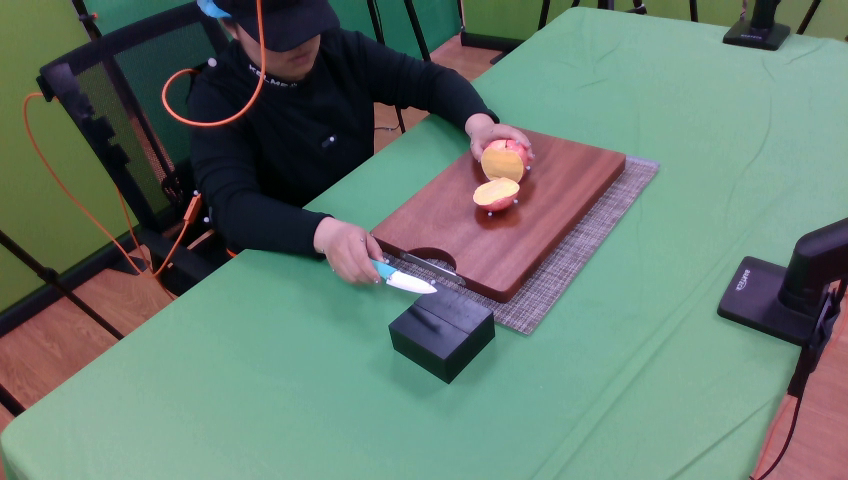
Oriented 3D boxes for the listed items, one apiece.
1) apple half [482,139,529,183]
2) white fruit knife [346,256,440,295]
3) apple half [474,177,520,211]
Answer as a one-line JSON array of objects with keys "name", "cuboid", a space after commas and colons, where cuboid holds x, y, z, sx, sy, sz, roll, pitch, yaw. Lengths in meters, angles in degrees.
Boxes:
[{"name": "apple half", "cuboid": [0.146, -0.138, 1.039, 0.080, 0.075, 0.053, 11, 40, 27]}, {"name": "white fruit knife", "cuboid": [-0.047, 0.050, 0.854, 0.205, 0.016, 0.027, 14, 76, 48]}, {"name": "apple half", "cuboid": [0.123, -0.070, 0.994, 0.081, 0.033, 0.081, -17, 29, 11]}]
